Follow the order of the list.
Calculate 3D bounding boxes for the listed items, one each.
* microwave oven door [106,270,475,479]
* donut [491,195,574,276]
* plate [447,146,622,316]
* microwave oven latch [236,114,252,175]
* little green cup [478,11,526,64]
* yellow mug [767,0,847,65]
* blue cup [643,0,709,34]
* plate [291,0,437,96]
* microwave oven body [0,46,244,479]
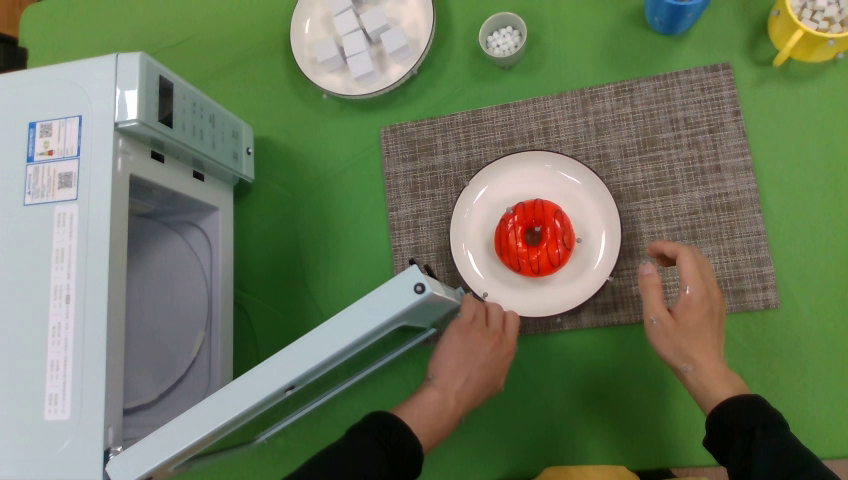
[{"bbox_3d":[-0.120,0.145,0.657,0.356,0.245,0.039,-33,75,6],"label":"microwave oven door"},{"bbox_3d":[0.130,-0.005,0.732,0.099,0.048,0.099,-1,84,12],"label":"donut"},{"bbox_3d":[0.133,-0.010,0.744,0.208,0.038,0.208,-2,81,13],"label":"plate"},{"bbox_3d":[-0.255,-0.131,0.835,0.030,0.029,0.079,-4,81,12],"label":"microwave oven latch"},{"bbox_3d":[0.104,-0.262,0.792,0.061,0.039,0.061,-2,81,13],"label":"little green cup"},{"bbox_3d":[0.449,-0.257,0.698,0.099,0.064,0.131,41,93,16],"label":"yellow mug"},{"bbox_3d":[0.300,-0.296,0.720,0.092,0.101,0.092,-2,82,12],"label":"blue cup"},{"bbox_3d":[-0.080,-0.295,0.840,0.207,0.039,0.207,-2,81,13],"label":"plate"},{"bbox_3d":[-0.412,0.041,0.745,0.325,0.261,0.440,-5,81,12],"label":"microwave oven body"}]
